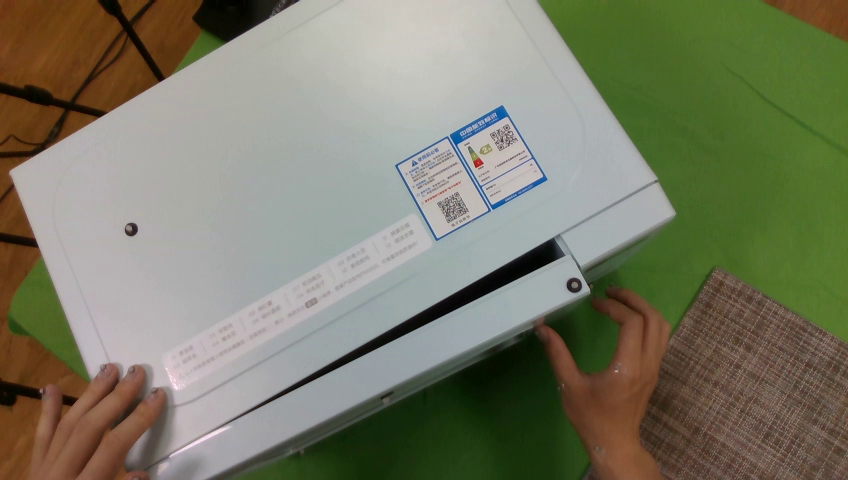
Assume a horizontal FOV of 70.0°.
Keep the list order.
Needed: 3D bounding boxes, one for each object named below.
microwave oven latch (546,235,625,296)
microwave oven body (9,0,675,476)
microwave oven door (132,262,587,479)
[{"bbox_3d":[0.169,0.028,0.635,0.079,0.029,0.030,-28,77,2],"label":"microwave oven latch"},{"bbox_3d":[-0.069,-0.029,0.578,0.442,0.261,0.324,-30,78,2],"label":"microwave oven body"},{"bbox_3d":[-0.033,0.123,0.540,0.356,0.245,0.039,-27,76,2],"label":"microwave oven door"}]
